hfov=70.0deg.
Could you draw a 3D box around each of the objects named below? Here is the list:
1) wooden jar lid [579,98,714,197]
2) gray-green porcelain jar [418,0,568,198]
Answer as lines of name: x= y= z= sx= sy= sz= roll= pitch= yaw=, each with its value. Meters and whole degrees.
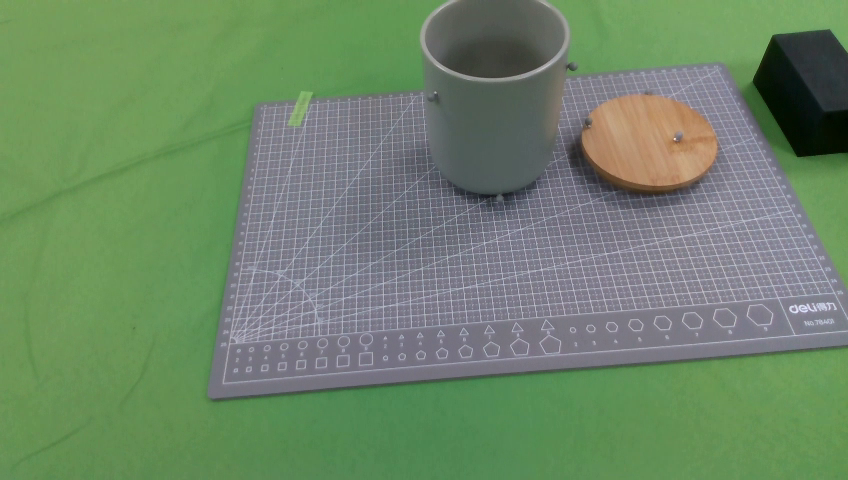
wooden jar lid: x=0.185 y=-0.077 z=0.510 sx=0.108 sy=0.021 sz=0.107 roll=-2 pitch=52 yaw=4
gray-green porcelain jar: x=0.052 y=-0.104 z=0.473 sx=0.106 sy=0.127 sz=0.105 roll=-2 pitch=53 yaw=3
